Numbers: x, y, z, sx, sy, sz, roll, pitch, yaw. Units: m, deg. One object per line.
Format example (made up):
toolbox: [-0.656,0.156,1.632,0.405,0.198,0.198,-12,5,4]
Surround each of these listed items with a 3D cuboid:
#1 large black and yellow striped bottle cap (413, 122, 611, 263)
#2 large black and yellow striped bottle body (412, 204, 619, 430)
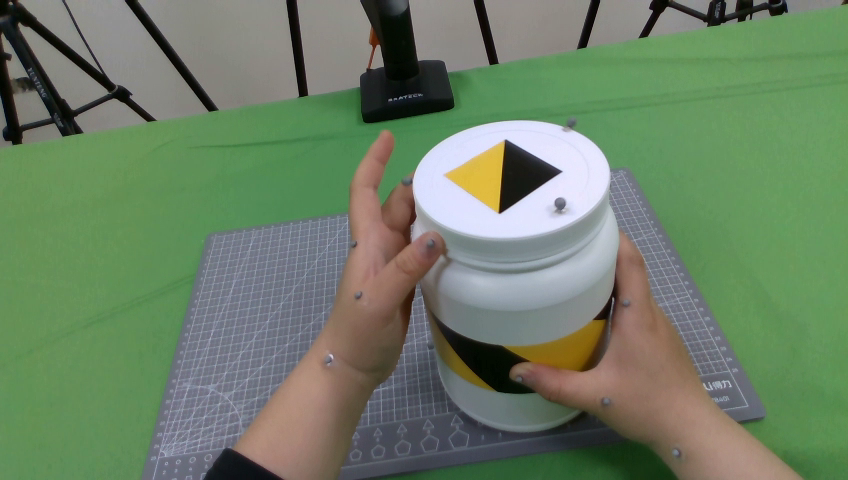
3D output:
large black and yellow striped bottle cap: [0.051,-0.032,0.357,0.115,0.019,0.114,-6,42,6]
large black and yellow striped bottle body: [0.062,0.029,0.414,0.130,0.186,0.129,-6,43,6]
